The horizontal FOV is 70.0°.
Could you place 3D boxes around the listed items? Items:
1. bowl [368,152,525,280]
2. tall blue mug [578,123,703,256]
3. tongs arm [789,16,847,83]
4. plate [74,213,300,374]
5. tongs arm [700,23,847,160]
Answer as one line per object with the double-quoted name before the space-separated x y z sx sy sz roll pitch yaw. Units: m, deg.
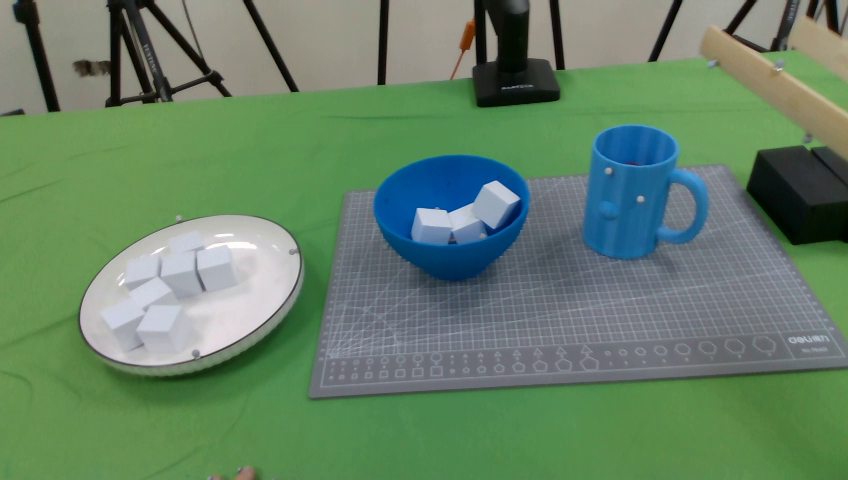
"bowl" 0.024 -0.014 0.599 0.151 0.077 0.150 -3 40 3
"tall blue mug" 0.210 -0.047 0.591 0.107 0.109 0.077 4 40 12
"tongs arm" 0.356 -0.043 0.372 0.028 0.028 0.383 -3 45 -18
"plate" -0.222 0.050 0.588 0.209 0.038 0.207 -3 40 3
"tongs arm" 0.305 -0.034 0.355 0.051 0.027 0.380 -9 46 -19
